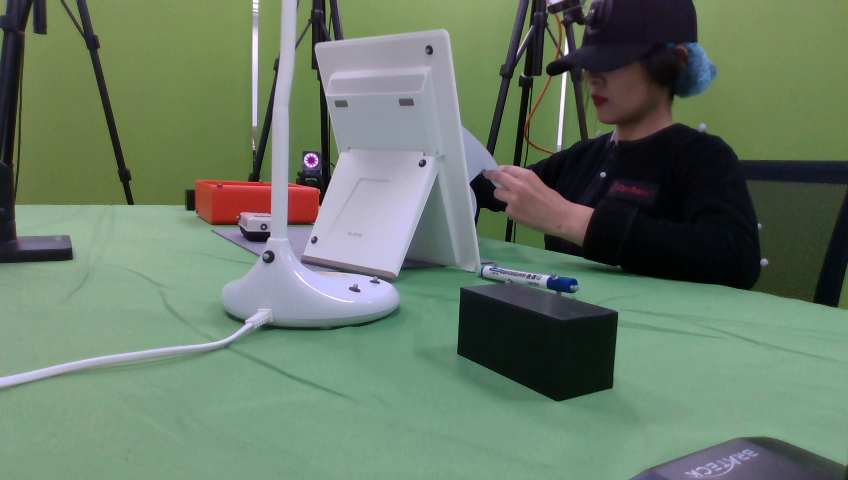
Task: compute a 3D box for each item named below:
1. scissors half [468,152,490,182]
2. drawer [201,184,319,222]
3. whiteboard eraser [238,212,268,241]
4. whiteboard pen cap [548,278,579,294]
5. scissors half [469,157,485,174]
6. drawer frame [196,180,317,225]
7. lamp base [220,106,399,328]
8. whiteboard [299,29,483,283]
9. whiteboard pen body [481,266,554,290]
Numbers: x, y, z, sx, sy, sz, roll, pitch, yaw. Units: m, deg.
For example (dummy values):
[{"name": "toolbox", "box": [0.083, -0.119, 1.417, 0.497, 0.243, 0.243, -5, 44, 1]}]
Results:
[{"name": "scissors half", "box": [0.088, -0.118, 1.101, 0.013, 0.040, 0.175, 32, -26, -3]}, {"name": "drawer", "box": [-0.353, -0.082, 1.295, 0.213, 0.073, 0.193, -2, 10, -28]}, {"name": "whiteboard eraser", "box": [-0.272, -0.023, 0.998, 0.056, 0.042, 0.112, -2, 9, -24]}, {"name": "whiteboard pen cap", "box": [0.148, 0.049, 0.647, 0.018, 0.018, 0.033, -3, 3, -35]}, {"name": "scissors half", "box": [0.102, -0.137, 1.105, 0.013, 0.040, 0.175, 37, 5, -2]}, {"name": "drawer frame", "box": [-0.359, -0.083, 1.292, 0.215, 0.082, 0.200, -2, 10, -30]}, {"name": "lamp base", "box": [-0.102, -0.023, 0.531, 0.160, 0.180, 0.179, 4, 10, 10]}, {"name": "whiteboard", "box": [-0.074, -0.082, 0.742, 0.216, 0.305, 0.144, 9, 29, 38]}, {"name": "whiteboard pen body", "box": [0.115, 0.044, 0.695, 0.017, 0.017, 0.140, -3, 6, -35]}]
